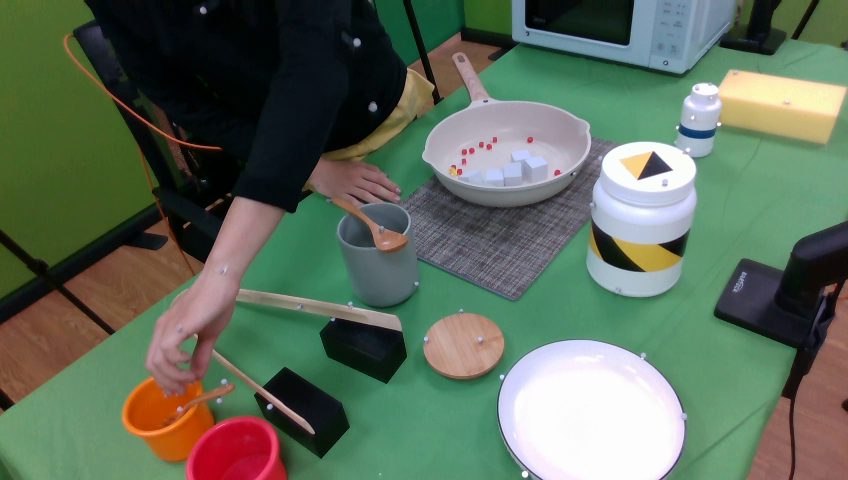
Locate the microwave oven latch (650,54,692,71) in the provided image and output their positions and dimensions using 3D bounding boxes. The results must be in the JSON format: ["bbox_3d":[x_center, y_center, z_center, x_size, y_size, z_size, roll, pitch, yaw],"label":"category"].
[{"bbox_3d":[0.531,-0.386,1.301,0.078,0.029,0.030,25,51,33],"label":"microwave oven latch"}]

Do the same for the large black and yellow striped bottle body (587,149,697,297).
[{"bbox_3d":[0.298,-0.026,0.835,0.131,0.185,0.130,-4,41,4],"label":"large black and yellow striped bottle body"}]

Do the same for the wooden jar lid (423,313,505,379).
[{"bbox_3d":[0.053,0.142,0.800,0.108,0.021,0.108,-4,39,4],"label":"wooden jar lid"}]

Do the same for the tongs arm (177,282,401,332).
[{"bbox_3d":[-0.199,0.096,0.823,0.382,0.027,0.051,7,45,34],"label":"tongs arm"}]

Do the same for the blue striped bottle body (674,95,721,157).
[{"bbox_3d":[0.486,-0.213,1.071,0.063,0.121,0.063,-4,41,4],"label":"blue striped bottle body"}]

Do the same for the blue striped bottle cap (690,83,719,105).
[{"bbox_3d":[0.481,-0.251,1.038,0.044,0.021,0.044,-5,40,5],"label":"blue striped bottle cap"}]

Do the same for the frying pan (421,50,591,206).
[{"bbox_3d":[0.127,-0.233,1.155,0.307,0.103,0.484,-11,49,-5],"label":"frying pan"}]

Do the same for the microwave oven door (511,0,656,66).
[{"bbox_3d":[0.350,-0.539,1.348,0.353,0.245,0.039,24,50,31],"label":"microwave oven door"}]

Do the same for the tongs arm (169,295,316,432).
[{"bbox_3d":[-0.248,0.148,0.775,0.384,0.028,0.028,21,57,44],"label":"tongs arm"}]

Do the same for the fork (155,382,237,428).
[{"bbox_3d":[-0.263,0.188,0.690,0.206,0.018,0.028,-33,10,43],"label":"fork"}]

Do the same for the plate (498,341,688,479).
[{"bbox_3d":[0.188,0.207,0.692,0.207,0.039,0.206,-4,40,4],"label":"plate"}]

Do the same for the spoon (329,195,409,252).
[{"bbox_3d":[-0.082,-0.029,0.828,0.042,0.022,0.192,-31,43,-21],"label":"spoon"}]

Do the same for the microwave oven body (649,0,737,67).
[{"bbox_3d":[0.475,-0.602,1.411,0.438,0.261,0.327,23,50,32],"label":"microwave oven body"}]

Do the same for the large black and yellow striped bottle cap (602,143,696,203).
[{"bbox_3d":[0.289,-0.088,0.779,0.115,0.019,0.114,-5,40,4],"label":"large black and yellow striped bottle cap"}]

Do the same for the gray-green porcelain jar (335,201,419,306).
[{"bbox_3d":[-0.064,0.024,0.872,0.106,0.127,0.105,-4,41,4],"label":"gray-green porcelain jar"}]

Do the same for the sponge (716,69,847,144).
[{"bbox_3d":[0.663,-0.256,1.141,0.205,0.061,0.118,19,47,28],"label":"sponge"}]
